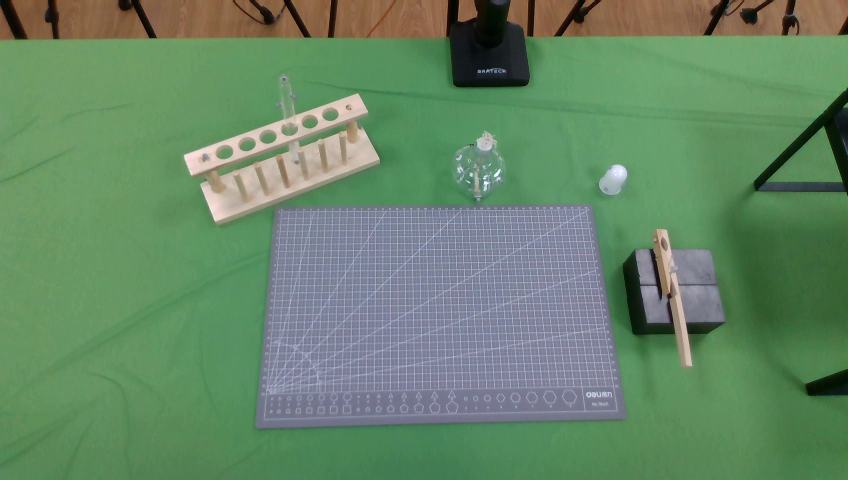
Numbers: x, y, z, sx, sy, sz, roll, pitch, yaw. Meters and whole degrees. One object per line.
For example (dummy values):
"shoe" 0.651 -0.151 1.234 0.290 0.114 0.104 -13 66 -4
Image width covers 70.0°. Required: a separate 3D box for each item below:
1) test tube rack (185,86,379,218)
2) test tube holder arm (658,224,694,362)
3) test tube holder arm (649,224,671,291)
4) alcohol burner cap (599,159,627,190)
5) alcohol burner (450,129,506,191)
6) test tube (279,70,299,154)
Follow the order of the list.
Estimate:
"test tube rack" -0.187 -0.120 0.829 0.242 0.086 0.066 -23 69 -12
"test tube holder arm" 0.313 0.063 0.759 0.013 0.015 0.177 -3 68 -6
"test tube holder arm" 0.303 0.022 0.775 0.010 0.015 0.087 -2 68 -5
"alcohol burner cap" 0.272 -0.096 0.865 0.034 0.048 0.033 1 66 -1
"alcohol burner" 0.076 -0.117 0.826 0.078 0.120 0.077 2 67 -4
"test tube" -0.175 -0.163 0.794 0.017 0.151 0.017 3 59 -5
